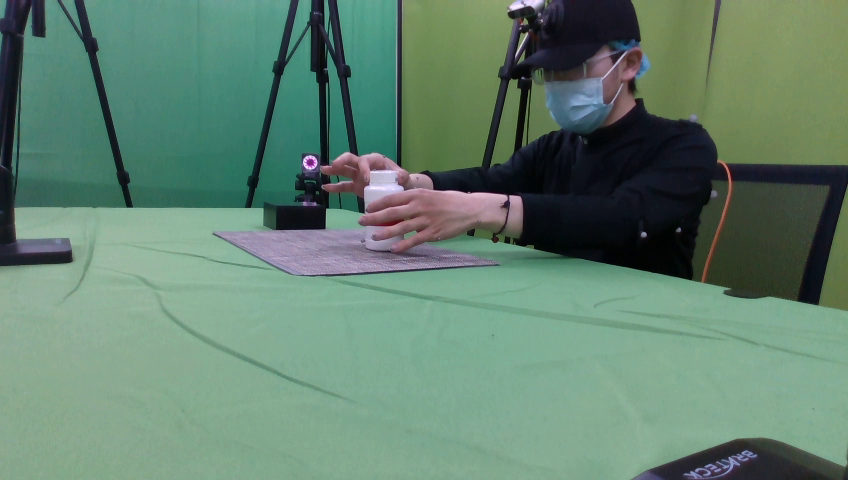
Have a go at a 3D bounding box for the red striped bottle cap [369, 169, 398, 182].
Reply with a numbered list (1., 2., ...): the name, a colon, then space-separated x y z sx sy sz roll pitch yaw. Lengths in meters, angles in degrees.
1. red striped bottle cap: -0.063 -0.100 0.933 0.044 0.017 0.044 -4 6 1

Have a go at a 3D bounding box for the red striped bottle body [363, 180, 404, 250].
1. red striped bottle body: -0.063 -0.048 0.944 0.063 0.119 0.063 -1 10 1
